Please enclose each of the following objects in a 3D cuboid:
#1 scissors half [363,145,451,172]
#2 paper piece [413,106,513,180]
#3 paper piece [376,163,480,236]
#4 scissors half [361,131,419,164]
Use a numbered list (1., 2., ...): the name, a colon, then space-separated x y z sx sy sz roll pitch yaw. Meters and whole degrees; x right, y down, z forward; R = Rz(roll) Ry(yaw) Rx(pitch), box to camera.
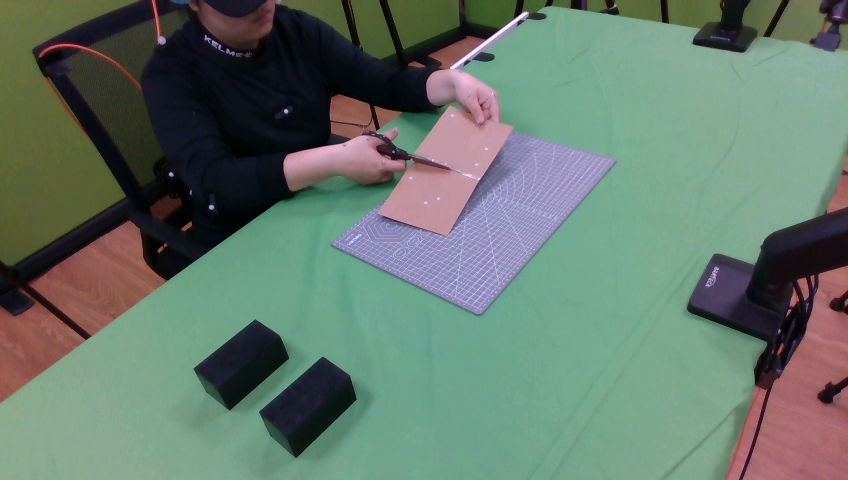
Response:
1. scissors half: -0.032 -0.143 1.097 0.174 0.040 0.013 15 60 21
2. paper piece: 0.073 -0.179 1.098 0.135 0.009 0.138 27 61 15
3. paper piece: 0.008 -0.074 1.036 0.135 0.004 0.135 18 58 22
4. scissors half: -0.032 -0.154 1.078 0.175 0.040 0.013 25 67 1
